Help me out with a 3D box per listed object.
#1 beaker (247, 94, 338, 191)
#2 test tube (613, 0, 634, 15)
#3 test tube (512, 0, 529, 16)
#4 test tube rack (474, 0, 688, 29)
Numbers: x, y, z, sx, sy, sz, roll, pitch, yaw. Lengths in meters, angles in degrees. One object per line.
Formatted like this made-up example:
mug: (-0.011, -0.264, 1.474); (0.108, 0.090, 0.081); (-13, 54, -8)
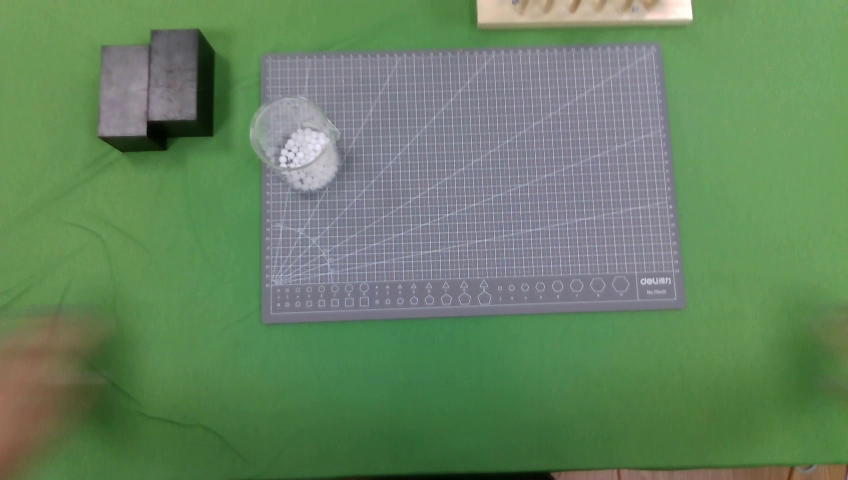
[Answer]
beaker: (-0.125, -0.095, 0.616); (0.084, 0.100, 0.073); (-2, 81, -2)
test tube: (0.225, -0.274, 0.614); (0.017, 0.151, 0.017); (0, 80, -2)
test tube: (0.107, -0.272, 0.611); (0.017, 0.150, 0.017); (0, 81, 0)
test tube rack: (0.178, -0.284, 0.660); (0.242, 0.085, 0.066); (-2, 81, -1)
